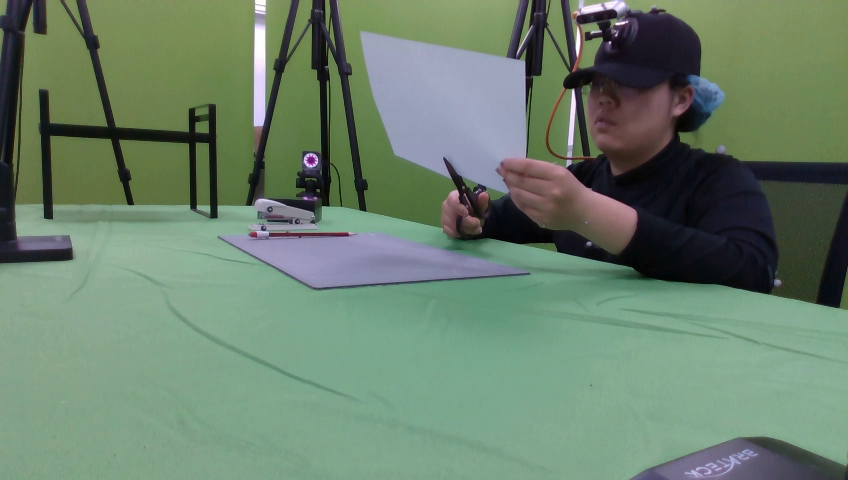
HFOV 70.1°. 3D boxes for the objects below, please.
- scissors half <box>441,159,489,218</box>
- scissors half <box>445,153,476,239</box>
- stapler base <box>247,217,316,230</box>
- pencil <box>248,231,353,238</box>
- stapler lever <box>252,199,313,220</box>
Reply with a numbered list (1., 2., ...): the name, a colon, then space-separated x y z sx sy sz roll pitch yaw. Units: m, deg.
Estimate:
1. scissors half: 0.065 -0.083 0.952 0.012 0.040 0.176 22 -9 35
2. scissors half: 0.054 -0.065 0.945 0.013 0.175 0.040 17 52 33
3. stapler base: -0.276 -0.033 1.172 0.131 0.024 0.041 0 10 -37
4. pencil: -0.206 -0.009 1.039 0.195 0.012 0.012 0 8 -36
5. stapler lever: -0.273 -0.058 1.170 0.119 0.040 0.026 0 10 -37
